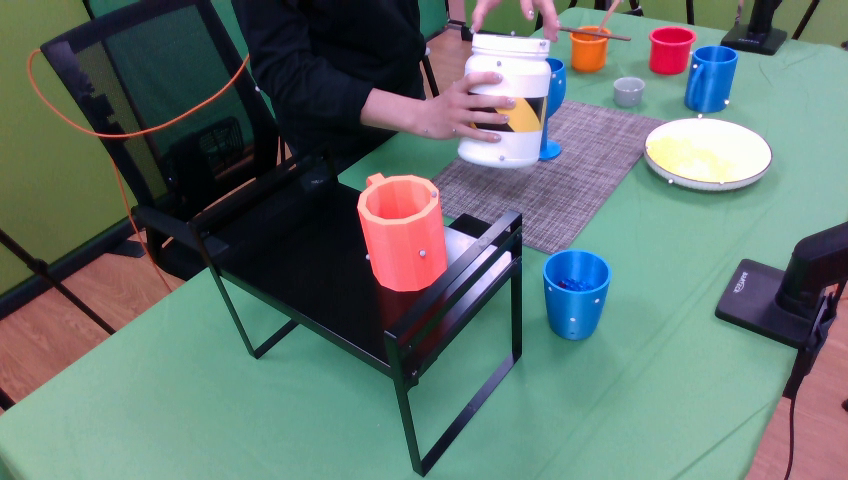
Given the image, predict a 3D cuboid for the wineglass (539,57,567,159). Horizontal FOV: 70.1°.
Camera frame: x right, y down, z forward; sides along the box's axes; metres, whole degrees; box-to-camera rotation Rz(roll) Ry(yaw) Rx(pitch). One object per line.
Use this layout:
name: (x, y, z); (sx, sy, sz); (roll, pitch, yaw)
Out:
wineglass: (0.221, -0.237, 1.097); (0.074, 0.173, 0.073); (-4, 41, 4)

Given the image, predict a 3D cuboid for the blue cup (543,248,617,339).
blue cup: (0.199, 0.076, 0.797); (0.092, 0.100, 0.092); (-4, 39, 4)

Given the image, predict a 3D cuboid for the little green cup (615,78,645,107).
little green cup: (0.426, -0.306, 1.257); (0.061, 0.039, 0.061); (-4, 40, 4)

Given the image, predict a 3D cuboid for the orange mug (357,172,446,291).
orange mug: (-0.030, -0.019, 0.668); (0.084, 0.101, 0.125); (-23, 47, -16)

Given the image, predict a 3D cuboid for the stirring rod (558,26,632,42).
stirring rod: (0.381, -0.462, 1.356); (0.175, 0.006, 0.014); (22, 48, 30)

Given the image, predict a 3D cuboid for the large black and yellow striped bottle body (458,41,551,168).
large black and yellow striped bottle body: (0.124, -0.215, 0.935); (0.131, 0.184, 0.130); (4, 21, -1)

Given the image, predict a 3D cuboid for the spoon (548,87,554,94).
spoon: (0.227, -0.285, 1.269); (0.041, 0.022, 0.194); (2, 36, 44)

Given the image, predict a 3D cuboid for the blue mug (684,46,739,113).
blue mug: (0.556, -0.310, 1.190); (0.117, 0.106, 0.081); (-32, 46, -25)

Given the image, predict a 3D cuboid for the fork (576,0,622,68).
fork: (0.409, -0.484, 1.381); (0.028, 0.019, 0.207); (37, 101, 45)

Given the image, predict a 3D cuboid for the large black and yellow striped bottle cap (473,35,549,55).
large black and yellow striped bottle cap: (0.131, -0.293, 0.906); (0.115, 0.019, 0.114); (4, 22, -1)

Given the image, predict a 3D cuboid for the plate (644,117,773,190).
plate: (0.495, -0.148, 1.063); (0.209, 0.038, 0.208); (-5, 40, 4)
